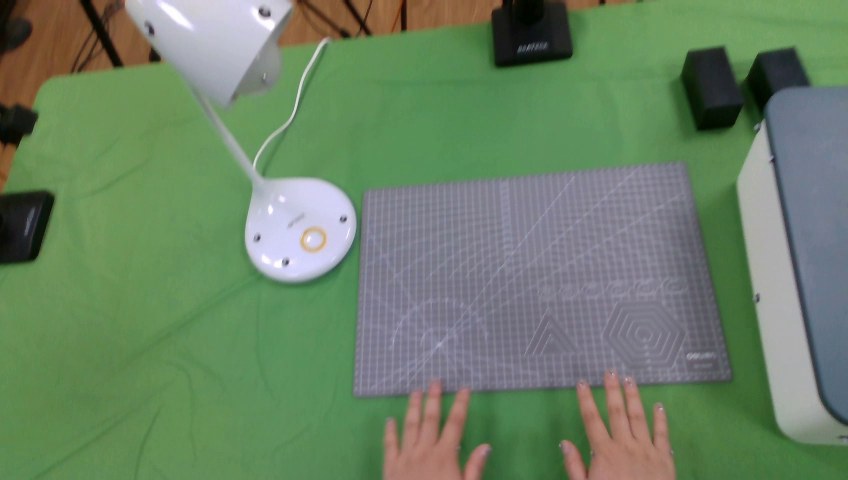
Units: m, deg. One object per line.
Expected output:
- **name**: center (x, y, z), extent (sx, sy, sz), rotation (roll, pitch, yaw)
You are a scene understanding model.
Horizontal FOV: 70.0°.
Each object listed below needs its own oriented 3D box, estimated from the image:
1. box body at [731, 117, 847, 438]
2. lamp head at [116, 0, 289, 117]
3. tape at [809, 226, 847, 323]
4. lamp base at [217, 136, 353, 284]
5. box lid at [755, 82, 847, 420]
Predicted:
- **box body**: center (0.500, 0.025, 0.650), extent (0.254, 0.162, 0.361), rotation (-1, 64, 9)
- **lamp head**: center (-0.197, -0.184, 0.528), extent (0.123, 0.112, 0.112), rotation (31, 69, -14)
- **tape**: center (0.513, 0.038, 0.697), extent (0.117, 0.053, 0.116), rotation (-4, 64, 7)
- **lamp base**: center (-0.201, -0.052, 0.797), extent (0.178, 0.182, 0.160), rotation (32, 73, 25)
- **box lid**: center (0.489, -0.010, 0.585), extent (0.263, 0.015, 0.368), rotation (-1, 64, 9)
